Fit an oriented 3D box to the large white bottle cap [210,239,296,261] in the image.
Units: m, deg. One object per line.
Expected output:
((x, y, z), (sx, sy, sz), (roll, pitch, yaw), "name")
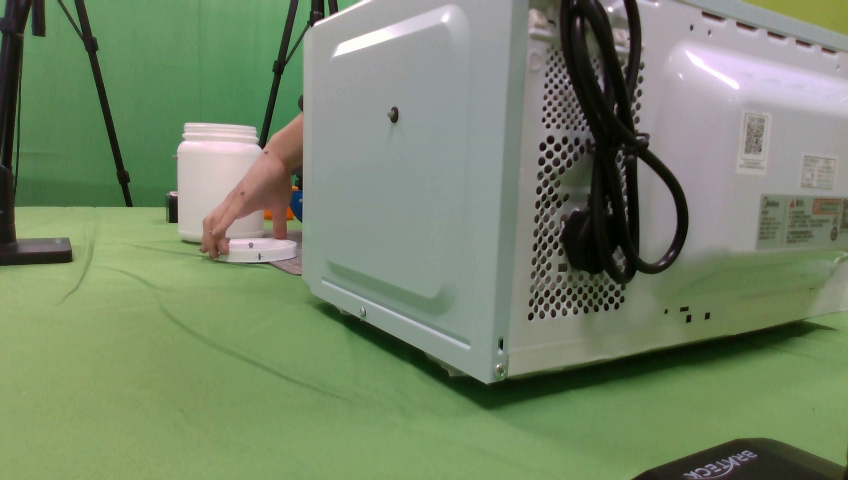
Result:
((-0.236, 0.013, 0.839), (0.115, 0.018, 0.115), (1, 7, 0), "large white bottle cap")

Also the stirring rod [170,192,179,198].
((-0.465, -0.098, 1.283), (0.014, 0.006, 0.177), (42, 21, 17), "stirring rod")

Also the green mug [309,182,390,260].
((-0.102, -0.029, 0.864), (0.126, 0.105, 0.092), (-3, 8, -40), "green mug")

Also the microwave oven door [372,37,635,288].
((0.110, -0.080, 0.686), (0.358, 0.243, 0.039), (-3, 8, -33), "microwave oven door")

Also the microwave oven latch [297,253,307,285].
((-0.082, 0.027, 0.582), (0.079, 0.029, 0.030), (-2, 7, -33), "microwave oven latch")

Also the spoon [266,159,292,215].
((-0.334, -0.128, 1.423), (0.041, 0.193, 0.022), (0, -38, 7), "spoon")

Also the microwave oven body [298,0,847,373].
((0.151, -0.055, 0.542), (0.444, 0.260, 0.324), (-2, 7, -33), "microwave oven body")

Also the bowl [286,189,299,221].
((-0.178, -0.051, 1.114), (0.151, 0.077, 0.151), (2, 8, 0), "bowl")

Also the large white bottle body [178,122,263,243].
((-0.328, -0.093, 0.981), (0.131, 0.184, 0.130), (2, 7, 0), "large white bottle body")
